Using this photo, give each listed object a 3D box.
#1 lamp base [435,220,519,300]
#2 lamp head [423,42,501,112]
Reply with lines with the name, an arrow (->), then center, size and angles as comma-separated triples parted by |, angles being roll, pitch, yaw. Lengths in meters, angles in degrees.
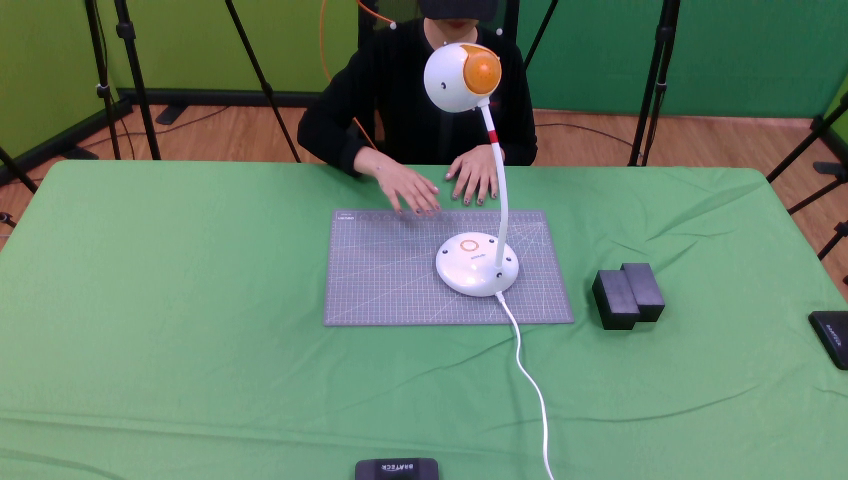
lamp base -> 0.112, -0.002, 1.096 | 0.161, 0.181, 0.178 | -22, 54, -23
lamp head -> 0.071, -0.258, 0.962 | 0.112, 0.113, 0.122 | -16, 19, -18
